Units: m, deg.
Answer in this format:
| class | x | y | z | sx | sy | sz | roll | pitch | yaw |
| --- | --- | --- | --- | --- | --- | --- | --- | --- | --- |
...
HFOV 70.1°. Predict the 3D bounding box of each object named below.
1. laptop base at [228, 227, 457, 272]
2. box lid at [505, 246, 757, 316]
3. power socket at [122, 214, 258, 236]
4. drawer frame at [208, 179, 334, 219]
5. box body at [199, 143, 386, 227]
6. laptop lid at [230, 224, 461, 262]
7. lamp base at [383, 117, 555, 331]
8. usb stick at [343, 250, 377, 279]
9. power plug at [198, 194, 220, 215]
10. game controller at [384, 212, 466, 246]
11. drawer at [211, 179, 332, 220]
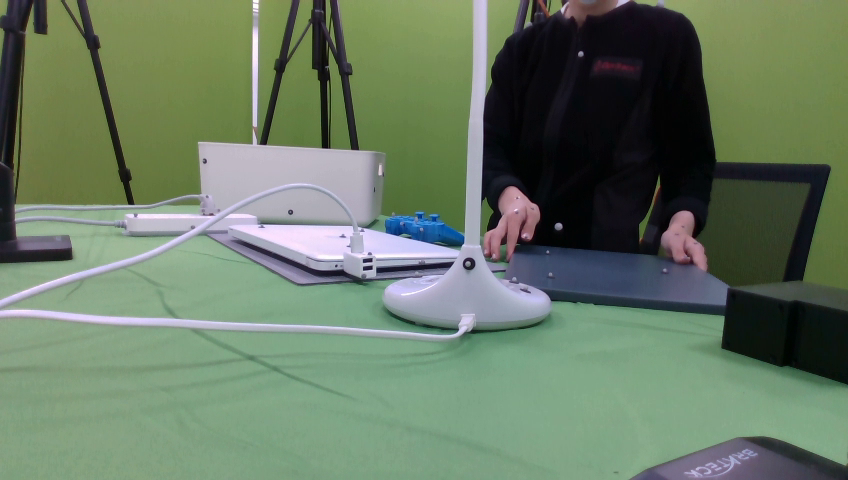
| class | x | y | z | sx | sy | sz | roll | pitch | yaw |
| --- | --- | --- | --- | --- | --- | --- | --- | --- | --- |
| laptop base | -0.122 | 0.011 | 0.889 | 0.237 | 0.023 | 0.352 | 2 | 6 | -35 |
| box lid | 0.244 | 0.044 | 0.793 | 0.263 | 0.015 | 0.372 | 4 | 7 | 10 |
| power socket | -0.398 | -0.028 | 1.049 | 0.228 | 0.032 | 0.072 | -3 | 8 | -34 |
| drawer frame | -0.326 | -0.093 | 1.328 | 0.213 | 0.082 | 0.202 | -1 | 5 | 6 |
| box body | -0.276 | -0.124 | 1.334 | 0.364 | 0.160 | 0.254 | 3 | 7 | 1 |
| laptop lid | -0.120 | 0.000 | 0.888 | 0.243 | 0.013 | 0.355 | 1 | 7 | -33 |
| lamp base | 0.045 | -0.019 | 0.547 | 0.161 | 0.180 | 0.179 | 2 | 10 | -4 |
| usb stick | -0.076 | 0.026 | 0.687 | 0.021 | 0.027 | 0.059 | -8 | 8 | -31 |
| power plug | -0.387 | -0.055 | 1.089 | 0.035 | 0.052 | 0.072 | -1 | 7 | -22 |
| game controller | -0.003 | -0.021 | 1.074 | 0.097 | 0.051 | 0.154 | -4 | 9 | -32 |
| drawer | -0.328 | -0.095 | 1.331 | 0.212 | 0.073 | 0.194 | 5 | 8 | 6 |
